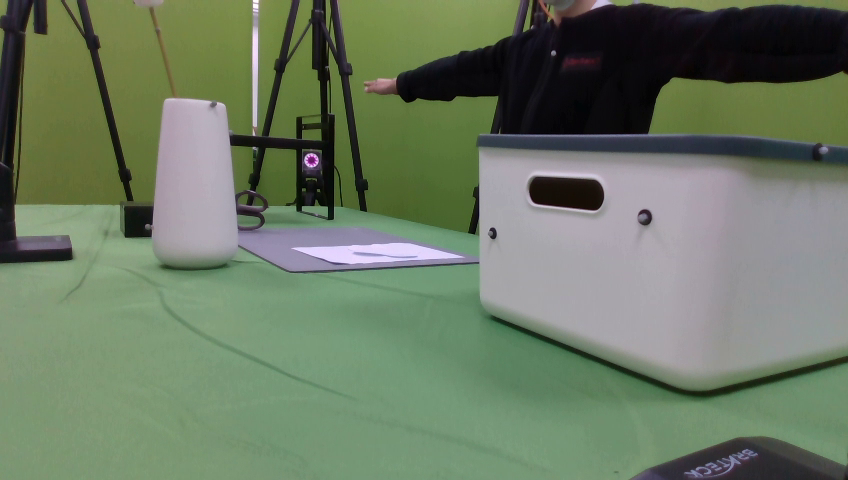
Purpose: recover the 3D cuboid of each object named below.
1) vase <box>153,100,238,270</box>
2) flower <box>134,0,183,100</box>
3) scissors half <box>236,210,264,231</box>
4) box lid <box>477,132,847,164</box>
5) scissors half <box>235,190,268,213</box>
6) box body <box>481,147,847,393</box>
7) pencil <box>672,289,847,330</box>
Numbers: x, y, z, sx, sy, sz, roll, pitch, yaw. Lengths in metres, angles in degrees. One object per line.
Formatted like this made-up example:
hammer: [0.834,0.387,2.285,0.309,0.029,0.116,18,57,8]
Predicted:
vase: [-0.278,-0.066,0.736,0.098,0.200,0.098,2,9,0]
flower: [-0.282,-0.147,0.713,0.038,0.362,0.044,-23,24,-31]
scissors half: [-0.369,-0.051,1.064,0.176,0.040,0.012,19,13,-27]
box lid: [0.257,-0.072,0.531,0.373,0.015,0.262,-1,8,-31]
scissors half: [-0.363,-0.070,1.060,0.176,0.040,0.013,0,16,-23]
box body: [0.255,0.001,0.541,0.366,0.160,0.253,-2,9,-31]
pencil: [0.330,0.066,0.609,0.012,0.012,0.193,-1,6,-28]
